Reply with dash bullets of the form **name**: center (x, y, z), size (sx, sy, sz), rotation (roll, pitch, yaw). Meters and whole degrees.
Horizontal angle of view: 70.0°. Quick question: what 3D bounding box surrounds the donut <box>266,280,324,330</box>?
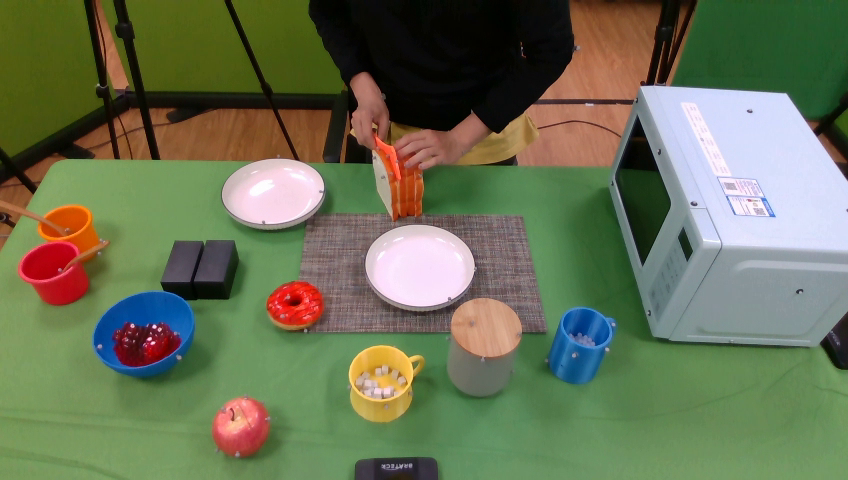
- **donut**: center (-0.223, 0.112, 1.051), size (0.099, 0.048, 0.098), rotation (2, 46, -2)

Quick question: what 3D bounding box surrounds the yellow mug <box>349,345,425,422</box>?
- **yellow mug**: center (-0.054, 0.217, 0.954), size (0.131, 0.064, 0.099), rotation (-23, 52, -25)

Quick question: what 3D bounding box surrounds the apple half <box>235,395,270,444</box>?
- **apple half**: center (-0.245, 0.260, 0.893), size (0.033, 0.082, 0.081), rotation (-29, 55, -22)

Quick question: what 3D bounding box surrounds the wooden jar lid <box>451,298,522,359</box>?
- **wooden jar lid**: center (0.093, 0.135, 0.914), size (0.108, 0.021, 0.107), rotation (2, 48, -3)

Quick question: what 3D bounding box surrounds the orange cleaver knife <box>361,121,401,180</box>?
- **orange cleaver knife**: center (-0.088, -0.185, 1.233), size (0.012, 0.077, 0.210), rotation (-17, 33, -16)

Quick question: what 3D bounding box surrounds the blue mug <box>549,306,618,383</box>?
- **blue mug**: center (0.269, 0.167, 0.997), size (0.116, 0.106, 0.082), rotation (-19, 51, -21)

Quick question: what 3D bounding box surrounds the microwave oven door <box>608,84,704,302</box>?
- **microwave oven door**: center (0.424, -0.096, 1.138), size (0.039, 0.245, 0.353), rotation (3, 46, -1)

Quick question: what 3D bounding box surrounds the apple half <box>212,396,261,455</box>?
- **apple half**: center (-0.276, 0.276, 0.877), size (0.053, 0.075, 0.080), rotation (-29, 58, -20)

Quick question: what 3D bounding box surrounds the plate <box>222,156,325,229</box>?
- **plate**: center (-0.308, -0.095, 1.251), size (0.209, 0.038, 0.208), rotation (3, 46, -2)

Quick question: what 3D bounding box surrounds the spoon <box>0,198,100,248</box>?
- **spoon**: center (-0.684, -0.035, 1.092), size (0.021, 0.195, 0.041), rotation (-34, 41, 26)

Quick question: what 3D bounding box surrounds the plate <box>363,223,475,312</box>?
- **plate**: center (-0.009, 0.054, 1.126), size (0.208, 0.039, 0.206), rotation (2, 46, -2)

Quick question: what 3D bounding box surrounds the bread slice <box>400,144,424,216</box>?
- **bread slice**: center (-0.025, -0.129, 1.239), size (0.019, 0.132, 0.104), rotation (-13, 47, -16)

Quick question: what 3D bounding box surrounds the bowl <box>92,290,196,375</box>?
- **bowl**: center (-0.436, 0.161, 0.971), size (0.151, 0.077, 0.150), rotation (2, 46, -2)

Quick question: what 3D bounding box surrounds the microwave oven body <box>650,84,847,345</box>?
- **microwave oven body**: center (0.569, -0.054, 1.116), size (0.326, 0.261, 0.439), rotation (2, 46, -1)

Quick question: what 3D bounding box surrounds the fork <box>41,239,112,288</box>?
- **fork**: center (-0.591, 0.040, 1.028), size (0.207, 0.019, 0.028), rotation (-27, 37, 29)

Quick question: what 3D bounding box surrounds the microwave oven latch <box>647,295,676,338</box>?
- **microwave oven latch**: center (0.413, 0.133, 1.060), size (0.030, 0.029, 0.078), rotation (4, 46, 1)

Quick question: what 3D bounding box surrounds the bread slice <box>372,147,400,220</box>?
- **bread slice**: center (-0.078, -0.123, 1.231), size (0.018, 0.135, 0.106), rotation (-20, 45, -15)

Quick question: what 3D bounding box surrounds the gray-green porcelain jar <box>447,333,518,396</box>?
- **gray-green porcelain jar**: center (0.091, 0.178, 0.960), size (0.106, 0.127, 0.105), rotation (2, 46, -2)
